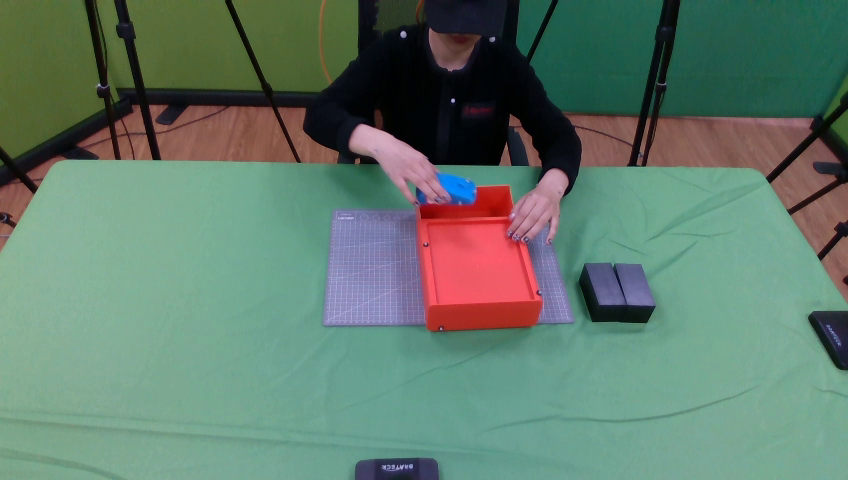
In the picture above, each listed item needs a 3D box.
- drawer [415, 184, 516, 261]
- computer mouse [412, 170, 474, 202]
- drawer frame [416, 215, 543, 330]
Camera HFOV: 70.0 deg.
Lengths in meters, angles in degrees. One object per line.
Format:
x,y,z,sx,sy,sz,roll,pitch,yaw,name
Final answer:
0.086,-0.015,1.175,0.195,0.073,0.210,-1,46,-6,drawer
0.037,-0.102,1.154,0.117,0.041,0.062,4,42,2,computer mouse
0.094,0.054,1.108,0.202,0.083,0.212,-2,47,-7,drawer frame
